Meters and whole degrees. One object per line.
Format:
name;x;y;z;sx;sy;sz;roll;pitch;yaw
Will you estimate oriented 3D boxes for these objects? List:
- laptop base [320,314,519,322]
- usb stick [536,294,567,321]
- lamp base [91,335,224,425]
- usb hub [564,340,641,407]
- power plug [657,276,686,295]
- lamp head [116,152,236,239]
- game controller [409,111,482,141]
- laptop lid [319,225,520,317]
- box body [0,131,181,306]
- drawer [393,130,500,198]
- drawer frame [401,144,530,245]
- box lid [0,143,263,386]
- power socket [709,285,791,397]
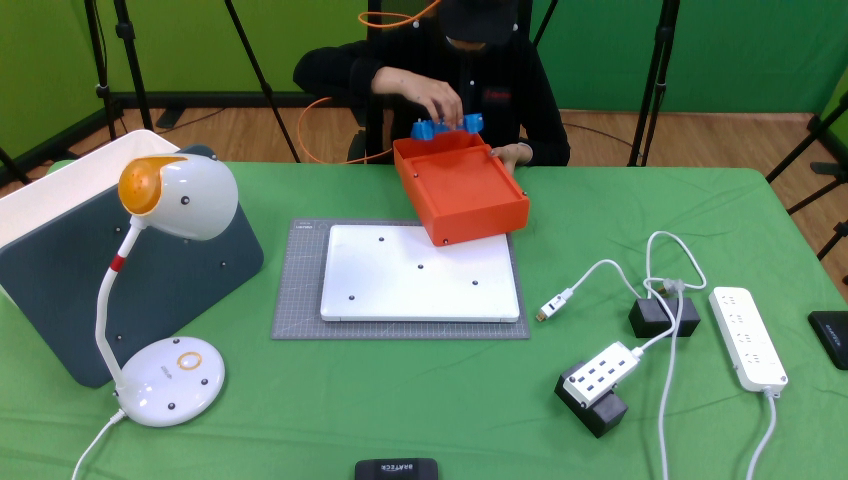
laptop base;-0.009;0.062;1.138;0.354;0.023;0.234;1;43;-3
usb stick;0.226;0.123;1.083;0.059;0.027;0.021;-38;77;-8
lamp base;-0.401;0.171;0.892;0.160;0.181;0.179;30;53;23
usb hub;0.278;0.205;0.944;0.125;0.025;0.049;-27;52;-28
power plug;0.450;0.087;1.113;0.073;0.052;0.035;-13;71;-55
lamp head;-0.315;-0.057;0.747;0.112;0.112;0.123;26;10;20
game controller;0.046;-0.239;1.259;0.155;0.052;0.097;-9;15;-4
laptop lid;-0.008;0.052;1.131;0.357;0.013;0.240;2;43;-2
box body;-0.550;-0.007;1.068;0.253;0.161;0.363;30;51;23
drawer;0.053;-0.149;1.293;0.195;0.073;0.210;-11;42;-12
drawer frame;0.079;-0.099;1.232;0.202;0.083;0.212;-12;42;-14
box lid;-0.444;0.032;0.979;0.015;0.264;0.371;13;42;41
power socket;0.568;0.168;1.064;0.072;0.033;0.225;2;46;0
